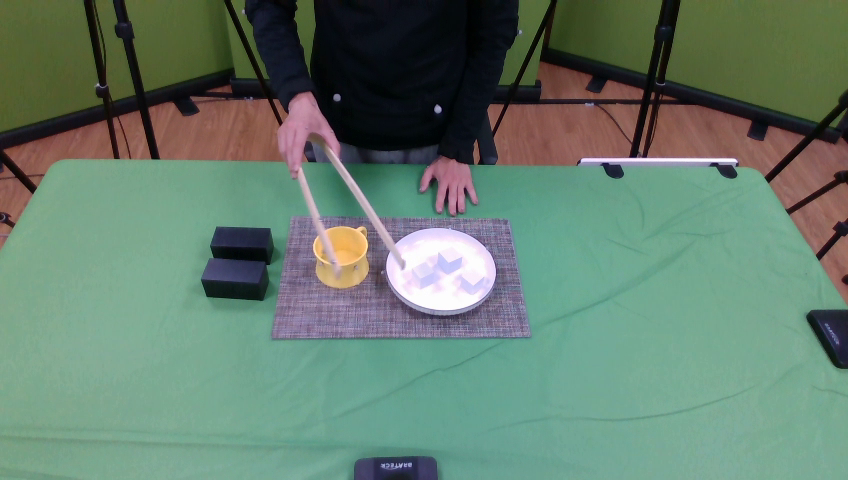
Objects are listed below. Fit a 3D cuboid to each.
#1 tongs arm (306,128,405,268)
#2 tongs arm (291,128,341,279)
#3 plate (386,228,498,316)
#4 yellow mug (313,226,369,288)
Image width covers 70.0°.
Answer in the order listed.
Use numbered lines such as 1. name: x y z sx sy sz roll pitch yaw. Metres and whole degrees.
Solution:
1. tongs arm: -0.126 -0.086 1.067 0.028 0.028 0.385 -18 49 -24
2. tongs arm: -0.180 -0.077 1.043 0.051 0.026 0.382 -10 46 -22
3. plate: 0.032 0.062 1.126 0.208 0.039 0.206 2 46 -2
4. yellow mug: -0.146 0.021 1.131 0.099 0.064 0.130 24 49 19
